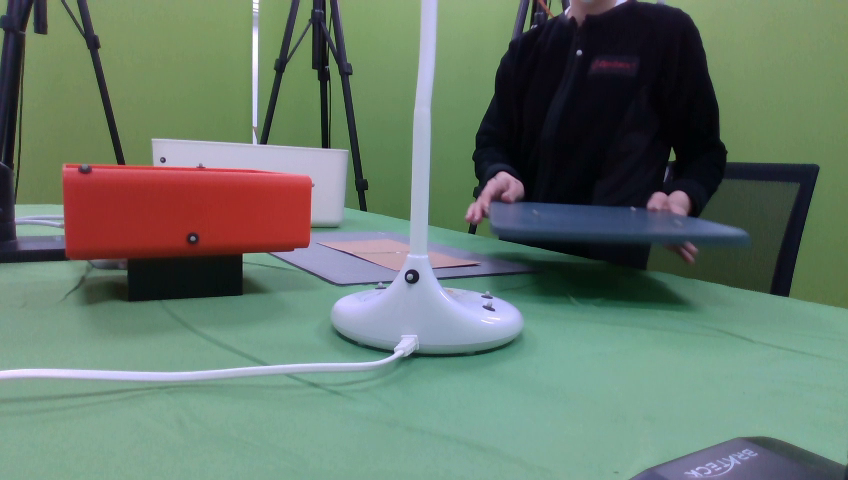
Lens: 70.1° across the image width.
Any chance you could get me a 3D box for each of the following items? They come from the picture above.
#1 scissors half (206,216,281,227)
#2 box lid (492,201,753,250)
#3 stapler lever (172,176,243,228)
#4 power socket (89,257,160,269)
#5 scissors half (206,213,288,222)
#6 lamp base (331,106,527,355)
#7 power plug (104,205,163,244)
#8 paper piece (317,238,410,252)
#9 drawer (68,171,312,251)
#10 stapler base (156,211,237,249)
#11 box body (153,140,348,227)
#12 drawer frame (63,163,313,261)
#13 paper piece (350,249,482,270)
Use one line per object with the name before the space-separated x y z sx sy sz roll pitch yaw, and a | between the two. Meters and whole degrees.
scissors half | -0.366 -0.040 1.214 0.174 0.013 0.040 6 21 21
box lid | 0.220 -0.024 0.780 0.263 0.015 0.371 3 8 5
stapler lever | -0.217 -0.041 0.618 0.027 0.040 0.118 19 11 -2
power socket | -0.409 0.004 0.793 0.072 0.032 0.225 -2 8 -38
scissors half | -0.361 -0.046 1.233 0.175 0.013 0.040 1 15 4
lamp base | 0.006 -0.012 0.478 0.161 0.180 0.179 2 10 2
power plug | -0.390 -0.021 0.815 0.073 0.052 0.035 -1 7 -27
paper piece | -0.083 0.008 0.951 0.136 0.004 0.134 -2 8 -31
drawer | -0.246 -0.036 0.629 0.213 0.073 0.193 -3 9 -30
stapler base | -0.227 -0.017 0.624 0.041 0.024 0.130 19 9 -2
box body | -0.357 -0.119 1.264 0.365 0.160 0.253 0 7 -18
drawer frame | -0.248 -0.036 0.626 0.215 0.082 0.200 -3 9 -31
paper piece | -0.013 0.026 0.841 0.139 0.008 0.135 0 11 -32
